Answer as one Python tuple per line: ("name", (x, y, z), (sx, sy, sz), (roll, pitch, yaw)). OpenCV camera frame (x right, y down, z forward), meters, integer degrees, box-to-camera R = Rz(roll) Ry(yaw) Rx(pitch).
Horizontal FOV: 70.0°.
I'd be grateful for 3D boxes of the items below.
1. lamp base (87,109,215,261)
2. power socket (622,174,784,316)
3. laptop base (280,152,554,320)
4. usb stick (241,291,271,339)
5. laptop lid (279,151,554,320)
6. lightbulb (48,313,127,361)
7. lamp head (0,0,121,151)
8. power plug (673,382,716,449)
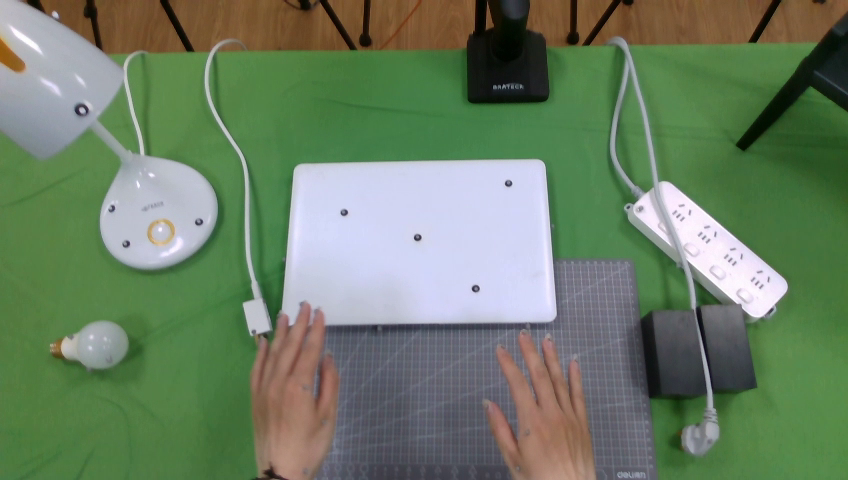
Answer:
("lamp base", (-0.378, -0.084, 0.767), (0.160, 0.181, 0.178), (-30, 69, -9))
("power socket", (0.362, 0.004, 0.790), (0.072, 0.033, 0.225), (-40, 73, -13))
("laptop base", (-0.010, -0.008, 0.815), (0.354, 0.023, 0.234), (-1, 72, 1))
("usb stick", (-0.214, 0.097, 0.777), (0.027, 0.021, 0.059), (-13, 79, -5))
("laptop lid", (-0.011, -0.011, 0.803), (0.357, 0.013, 0.240), (1, 71, 2))
("lightbulb", (-0.426, 0.124, 0.761), (0.107, 0.060, 0.059), (-7, 68, 16))
("lamp head", (-0.339, -0.154, 0.502), (0.112, 0.124, 0.111), (-24, 42, 24))
("power plug", (0.318, 0.208, 0.709), (0.035, 0.052, 0.072), (32, 64, -13))
